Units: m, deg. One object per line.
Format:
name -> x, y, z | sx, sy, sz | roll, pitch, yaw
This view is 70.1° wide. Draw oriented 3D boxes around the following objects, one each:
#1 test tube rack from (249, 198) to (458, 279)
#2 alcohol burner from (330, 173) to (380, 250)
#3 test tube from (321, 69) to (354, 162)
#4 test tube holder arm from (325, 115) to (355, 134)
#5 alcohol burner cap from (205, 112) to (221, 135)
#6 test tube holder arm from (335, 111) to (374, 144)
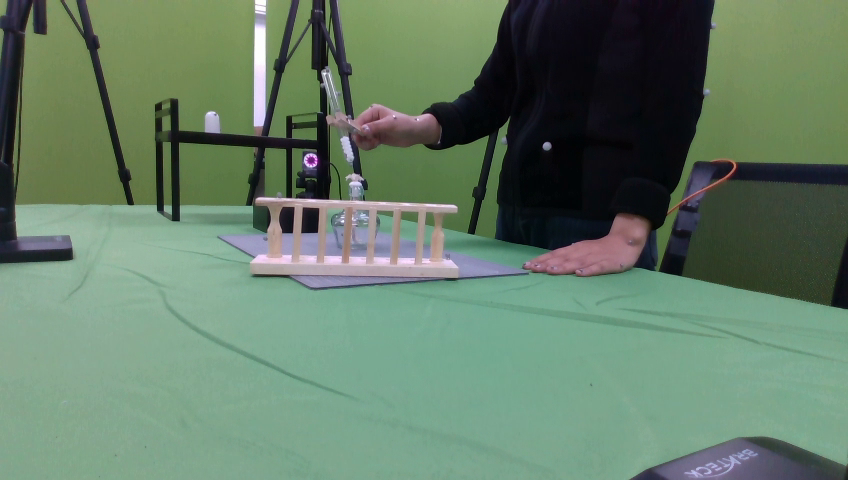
test tube rack -> -0.082, -0.002, 0.732 | 0.243, 0.085, 0.066 | 2, 8, -8
alcohol burner -> -0.107, -0.044, 0.938 | 0.078, 0.119, 0.078 | 1, 6, 0
test tube -> -0.134, -0.193, 0.937 | 0.017, 0.150, 0.017 | -15, -4, -1
test tube holder arm -> -0.130, -0.183, 0.959 | 0.010, 0.015, 0.088 | -19, -6, 21
alcohol burner cap -> -0.443, -0.245, 1.270 | 0.034, 0.048, 0.034 | 3, 8, 0
test tube holder arm -> -0.112, -0.183, 1.001 | 0.013, 0.015, 0.179 | -17, -6, 12
